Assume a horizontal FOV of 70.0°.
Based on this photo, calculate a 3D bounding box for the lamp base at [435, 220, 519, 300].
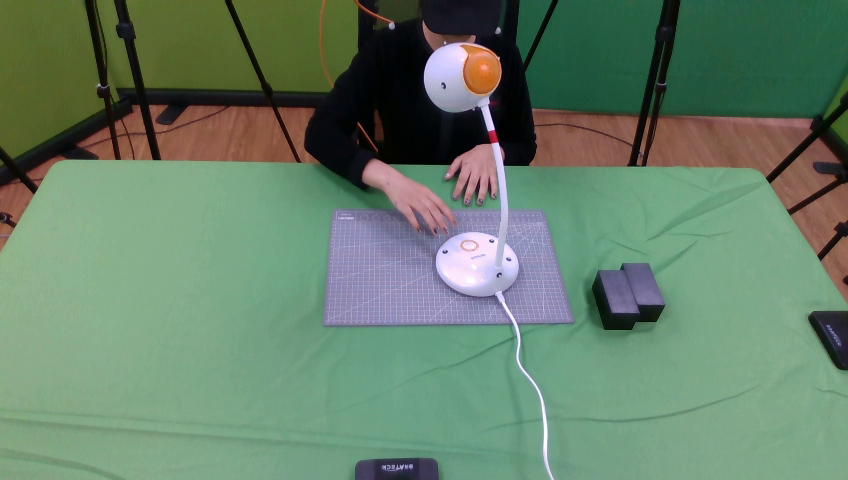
[{"bbox_3d":[0.112,-0.002,1.096,0.161,0.181,0.178,-22,54,-23],"label":"lamp base"}]

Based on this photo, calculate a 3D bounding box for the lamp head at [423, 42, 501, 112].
[{"bbox_3d":[0.071,-0.258,0.962,0.112,0.113,0.122,-16,19,-18],"label":"lamp head"}]
